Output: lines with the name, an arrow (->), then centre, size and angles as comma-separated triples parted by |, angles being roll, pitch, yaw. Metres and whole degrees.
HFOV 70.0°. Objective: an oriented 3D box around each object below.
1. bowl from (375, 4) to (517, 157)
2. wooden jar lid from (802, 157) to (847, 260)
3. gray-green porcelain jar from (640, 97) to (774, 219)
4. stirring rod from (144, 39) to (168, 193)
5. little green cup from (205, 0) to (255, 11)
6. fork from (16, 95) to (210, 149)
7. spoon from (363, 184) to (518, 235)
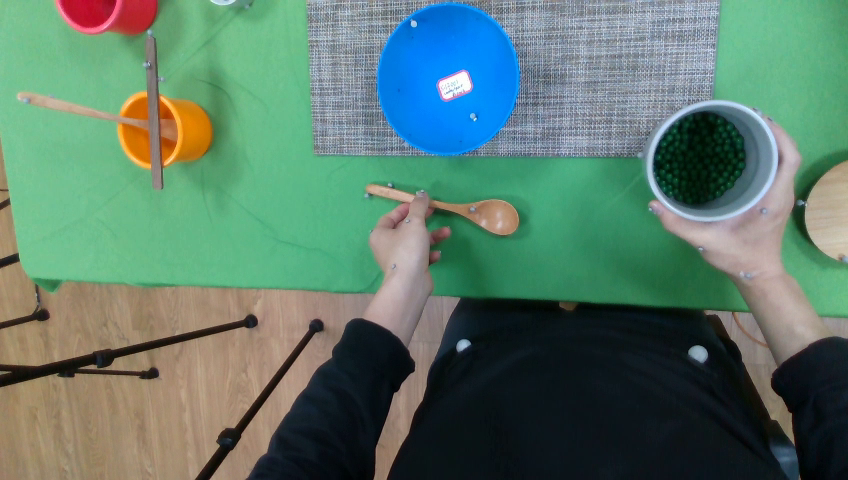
bowl -> 0.030, -0.167, 0.652 | 0.151, 0.077, 0.152 | 3, 102, 15
wooden jar lid -> 0.439, -0.032, 0.606 | 0.108, 0.020, 0.109 | 3, 103, 15
gray-green porcelain jar -> 0.263, -0.078, 0.581 | 0.105, 0.126, 0.106 | 3, 99, 18
stirring rod -> -0.314, -0.143, 0.711 | 0.014, 0.006, 0.176 | 4, 102, 16
little green cup -> -0.229, -0.302, 0.717 | 0.061, 0.038, 0.062 | 3, 102, 15
fork -> -0.366, -0.142, 0.727 | 0.209, 0.018, 0.028 | 9, 111, -32
spoon -> 0.017, -0.043, 0.714 | 0.193, 0.021, 0.042 | 13, 110, 10
